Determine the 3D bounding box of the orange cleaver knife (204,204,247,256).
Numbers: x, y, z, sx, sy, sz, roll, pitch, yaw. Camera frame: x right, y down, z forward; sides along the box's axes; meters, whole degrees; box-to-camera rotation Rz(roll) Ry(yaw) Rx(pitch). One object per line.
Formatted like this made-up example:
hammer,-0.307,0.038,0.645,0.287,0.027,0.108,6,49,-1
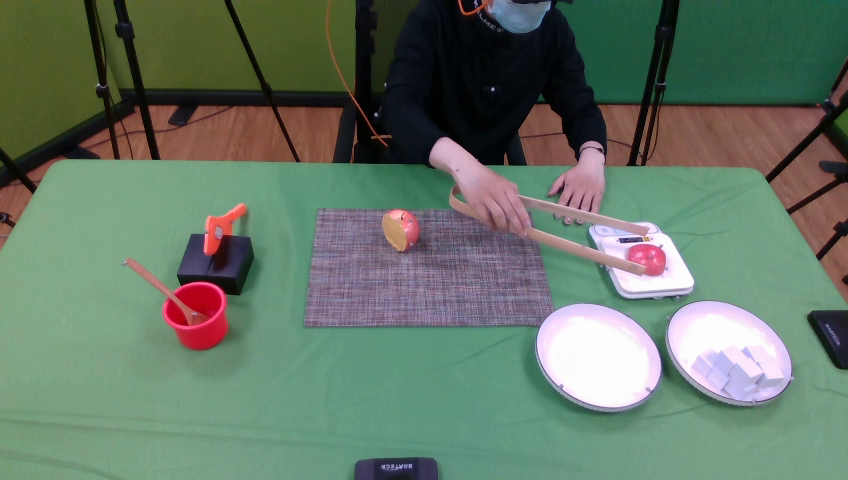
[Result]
orange cleaver knife,-0.374,-0.024,1.146,0.012,0.077,0.211,4,14,1

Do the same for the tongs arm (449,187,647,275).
tongs arm,0.225,-0.018,1.135,0.384,0.026,0.050,19,46,9

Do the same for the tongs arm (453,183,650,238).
tongs arm,0.244,-0.057,1.178,0.387,0.028,0.028,14,49,4

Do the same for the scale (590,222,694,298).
scale,0.424,0.031,1.189,0.149,0.032,0.199,-3,46,-7

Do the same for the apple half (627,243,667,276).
apple half,0.427,0.028,1.150,0.081,0.033,0.081,3,47,-3

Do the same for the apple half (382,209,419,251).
apple half,-0.039,-0.022,1.175,0.053,0.075,0.080,-27,50,-31

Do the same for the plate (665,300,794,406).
plate,0.513,0.194,1.034,0.208,0.039,0.206,2,46,-2

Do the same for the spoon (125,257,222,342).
spoon,-0.408,0.096,0.990,0.194,0.021,0.041,50,54,-18

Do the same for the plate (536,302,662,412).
plate,0.288,0.197,1.016,0.209,0.038,0.208,2,46,-2
